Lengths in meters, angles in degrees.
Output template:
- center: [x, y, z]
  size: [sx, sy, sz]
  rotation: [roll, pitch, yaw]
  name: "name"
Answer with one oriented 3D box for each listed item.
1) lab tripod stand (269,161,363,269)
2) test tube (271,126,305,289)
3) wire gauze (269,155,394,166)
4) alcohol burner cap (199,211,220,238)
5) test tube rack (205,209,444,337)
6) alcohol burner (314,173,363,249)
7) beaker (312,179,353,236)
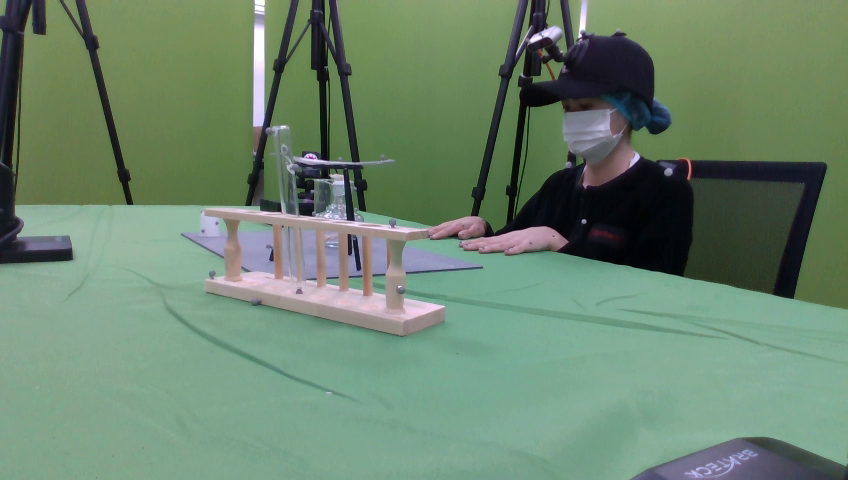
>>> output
- center: [-0.125, -0.036, 0.794]
  size: [0.148, 0.131, 0.148]
  rotation: [5, 7, 0]
  name: "lab tripod stand"
- center: [-0.124, -0.028, 0.554]
  size: [0.017, 0.150, 0.017]
  rotation: [-5, 7, 1]
  name: "test tube"
- center: [-0.121, -0.102, 0.785]
  size: [0.122, 0.011, 0.124]
  rotation: [-3, 10, -39]
  name: "wire gauze"
- center: [-0.356, -0.027, 1.002]
  size: [0.034, 0.048, 0.034]
  rotation: [2, 7, 0]
  name: "alcohol burner cap"
- center: [-0.100, 0.021, 0.565]
  size: [0.241, 0.085, 0.067]
  rotation: [7, 8, 32]
  name: "test tube rack"
- center: [-0.135, -0.046, 0.953]
  size: [0.078, 0.119, 0.078]
  rotation: [1, 9, 0]
  name: "alcohol burner"
- center: [-0.168, -0.060, 1.104]
  size: [0.074, 0.100, 0.083]
  rotation: [1, 8, -13]
  name: "beaker"
